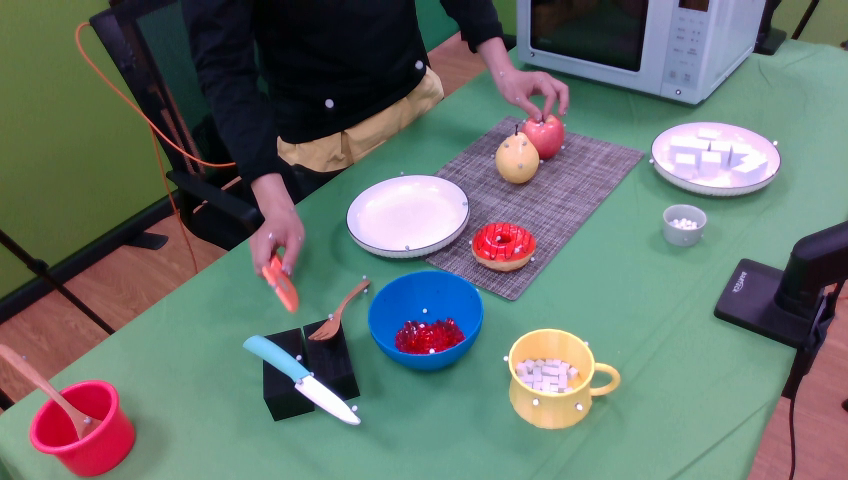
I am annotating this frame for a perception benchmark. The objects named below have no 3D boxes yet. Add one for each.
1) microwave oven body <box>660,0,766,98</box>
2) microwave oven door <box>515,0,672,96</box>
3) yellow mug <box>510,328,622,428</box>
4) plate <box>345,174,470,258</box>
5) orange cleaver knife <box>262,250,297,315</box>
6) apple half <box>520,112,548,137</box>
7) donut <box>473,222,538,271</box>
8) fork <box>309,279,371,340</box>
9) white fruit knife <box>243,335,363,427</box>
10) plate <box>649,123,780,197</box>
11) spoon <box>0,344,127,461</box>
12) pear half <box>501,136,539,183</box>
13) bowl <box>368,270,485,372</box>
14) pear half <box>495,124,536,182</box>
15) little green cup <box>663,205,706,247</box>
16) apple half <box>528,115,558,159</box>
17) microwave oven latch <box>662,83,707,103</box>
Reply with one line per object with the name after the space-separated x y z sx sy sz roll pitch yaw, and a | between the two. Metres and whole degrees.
0.472 -0.513 1.317 0.438 0.261 0.327 26 51 34 | microwave oven body
0.343 -0.454 1.259 0.353 0.245 0.039 26 51 33 | microwave oven door
0.168 0.164 0.722 0.130 0.064 0.099 0 40 8 | yellow mug
-0.026 -0.037 1.003 0.209 0.038 0.208 -4 40 4 | plate
-0.200 0.056 0.848 0.012 0.077 0.210 -32 14 -6 | orange cleaver knife
0.201 -0.203 1.137 0.032 0.081 0.081 29 53 32 | apple half
0.123 0.009 0.923 0.099 0.048 0.098 -3 37 3 | donut
-0.109 0.092 0.832 0.028 0.018 0.207 -5 19 15 | fork
-0.148 0.167 0.729 0.206 0.016 0.027 27 80 31 | white fruit knife
0.497 -0.135 1.046 0.207 0.039 0.206 -4 40 4 | plate
-0.433 0.191 0.720 0.194 0.021 0.042 47 52 -6 | spoon
0.172 -0.134 1.048 0.071 0.088 0.031 -16 40 -16 | pear half
0.007 0.118 0.791 0.151 0.077 0.150 -5 40 4 | bowl
0.160 -0.162 1.067 0.076 0.110 0.055 -17 41 -15 | pear half
0.396 -0.021 0.926 0.061 0.039 0.061 -4 40 4 | little green cup
0.221 -0.189 1.119 0.053 0.075 0.080 5 35 12 | apple half
0.517 -0.296 1.204 0.078 0.029 0.030 27 52 35 | microwave oven latch
